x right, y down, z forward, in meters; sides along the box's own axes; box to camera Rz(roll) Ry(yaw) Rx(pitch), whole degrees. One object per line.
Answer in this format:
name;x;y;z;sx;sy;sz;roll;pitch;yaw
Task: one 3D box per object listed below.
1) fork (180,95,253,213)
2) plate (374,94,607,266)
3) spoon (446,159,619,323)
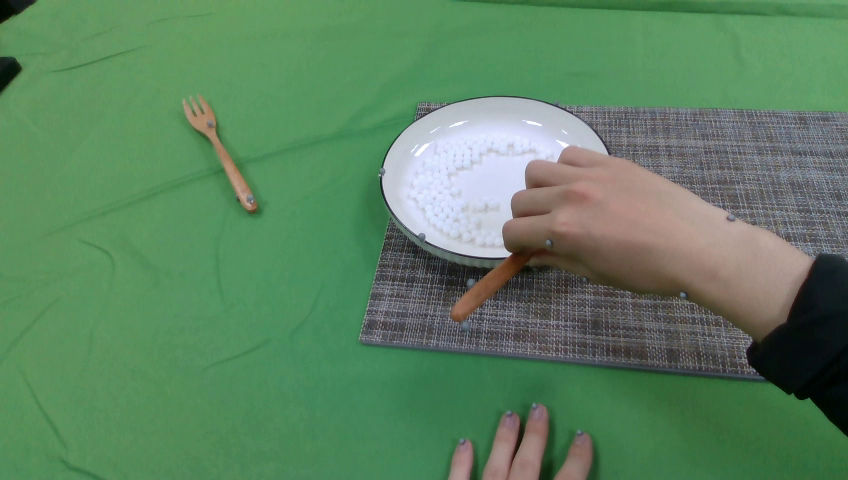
fork;-0.217;-0.094;0.632;0.028;0.019;0.205;-23;50;-20
plate;0.059;-0.055;0.554;0.207;0.039;0.205;-3;51;4
spoon;0.084;-0.003;0.448;0.193;0.021;0.042;-38;97;-29
